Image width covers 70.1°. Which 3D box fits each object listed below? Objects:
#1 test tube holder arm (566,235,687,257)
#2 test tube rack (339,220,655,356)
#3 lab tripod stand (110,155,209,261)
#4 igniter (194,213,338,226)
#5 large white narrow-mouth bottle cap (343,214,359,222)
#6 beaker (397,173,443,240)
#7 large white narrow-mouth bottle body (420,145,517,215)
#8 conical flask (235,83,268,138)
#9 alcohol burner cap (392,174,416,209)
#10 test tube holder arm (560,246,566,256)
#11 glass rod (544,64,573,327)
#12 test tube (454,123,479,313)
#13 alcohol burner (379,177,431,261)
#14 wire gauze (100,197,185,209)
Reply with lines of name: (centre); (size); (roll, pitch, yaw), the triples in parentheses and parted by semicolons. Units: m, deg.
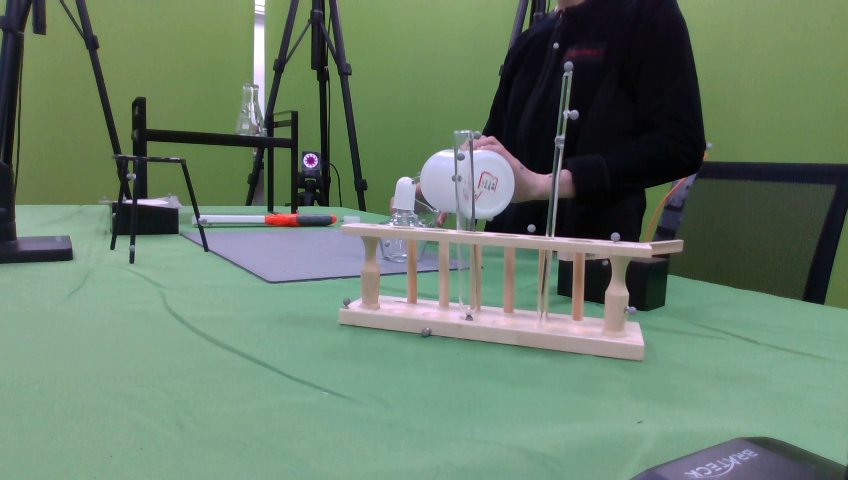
test tube holder arm: (0.215, 0.006, 0.630); (0.179, 0.015, 0.013); (-3, 9, -31)
test tube rack: (0.056, 0.032, 0.495); (0.242, 0.085, 0.067); (4, 7, 15)
lab tripod stand: (-0.361, -0.046, 0.806); (0.148, 0.131, 0.148); (2, 5, 0)
igniter: (-0.306, -0.041, 1.197); (0.278, 0.025, 0.057); (-2, -2, -30)
large white narrow-mouth bottle cap: (-0.155, -0.043, 1.282); (0.038, 0.024, 0.037); (2, 8, 0)
beaker: (-0.003, -0.054, 1.057); (0.074, 0.100, 0.083); (-5, 50, -25)
large white narrow-mouth bottle body: (0.052, -0.094, 0.918); (0.102, 0.101, 0.194); (-1, 8, -24)
conical flask: (-0.402, -0.299, 1.406); (0.075, 0.122, 0.075); (2, 7, 0)
alcohol burner cap: (-0.025, -0.067, 0.834); (0.034, 0.048, 0.034); (8, 7, -1)
test tube holder arm: (0.173, 0.007, 0.612); (0.088, 0.015, 0.010); (-3, 9, -29)
glass rod: (0.101, -0.028, 0.453); (0.008, 0.199, 0.008); (1, 14, 0)
test tube: (0.034, -0.016, 0.477); (0.017, 0.150, 0.017); (-2, 9, 1)
alcohol burner: (-0.027, -0.031, 0.838); (0.078, 0.119, 0.078); (0, 6, 0)
wire gauze: (-0.469, -0.062, 1.008); (0.126, 0.011, 0.121); (-2, 8, -25)
